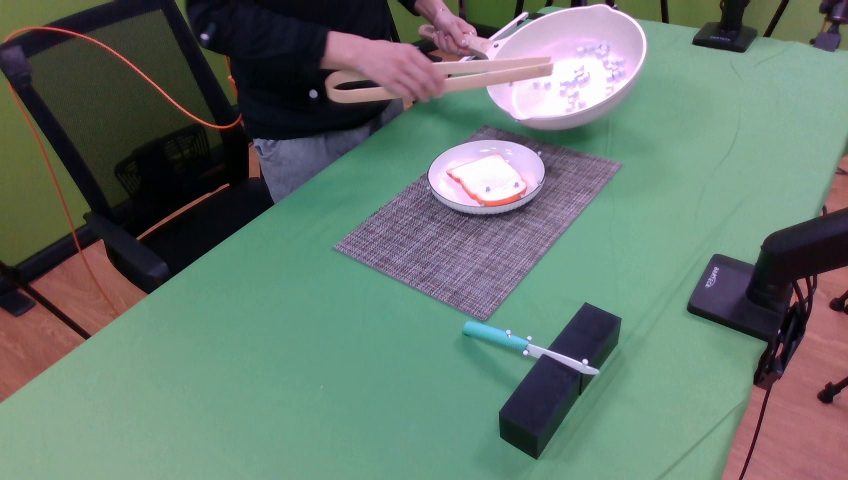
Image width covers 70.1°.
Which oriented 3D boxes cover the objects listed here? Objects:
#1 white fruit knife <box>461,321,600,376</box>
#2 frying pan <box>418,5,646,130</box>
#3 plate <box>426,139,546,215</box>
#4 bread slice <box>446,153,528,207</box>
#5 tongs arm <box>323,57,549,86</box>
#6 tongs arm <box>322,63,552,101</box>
[{"bbox_3d":[0.126,0.133,0.752,0.205,0.027,0.016,12,45,42],"label":"white fruit knife"},{"bbox_3d":[0.184,-0.358,1.179,0.484,0.103,0.307,28,70,28],"label":"frying pan"},{"bbox_3d":[0.109,-0.106,1.058,0.207,0.039,0.206,-4,40,4],"label":"plate"},{"bbox_3d":[0.118,-0.104,1.057,0.107,0.018,0.133,-24,41,-17],"label":"bread slice"},{"bbox_3d":[0.022,-0.288,1.034,0.388,0.028,0.028,-5,57,-2],"label":"tongs arm"},{"bbox_3d":[0.024,-0.274,1.023,0.386,0.026,0.050,-10,54,-6],"label":"tongs arm"}]
